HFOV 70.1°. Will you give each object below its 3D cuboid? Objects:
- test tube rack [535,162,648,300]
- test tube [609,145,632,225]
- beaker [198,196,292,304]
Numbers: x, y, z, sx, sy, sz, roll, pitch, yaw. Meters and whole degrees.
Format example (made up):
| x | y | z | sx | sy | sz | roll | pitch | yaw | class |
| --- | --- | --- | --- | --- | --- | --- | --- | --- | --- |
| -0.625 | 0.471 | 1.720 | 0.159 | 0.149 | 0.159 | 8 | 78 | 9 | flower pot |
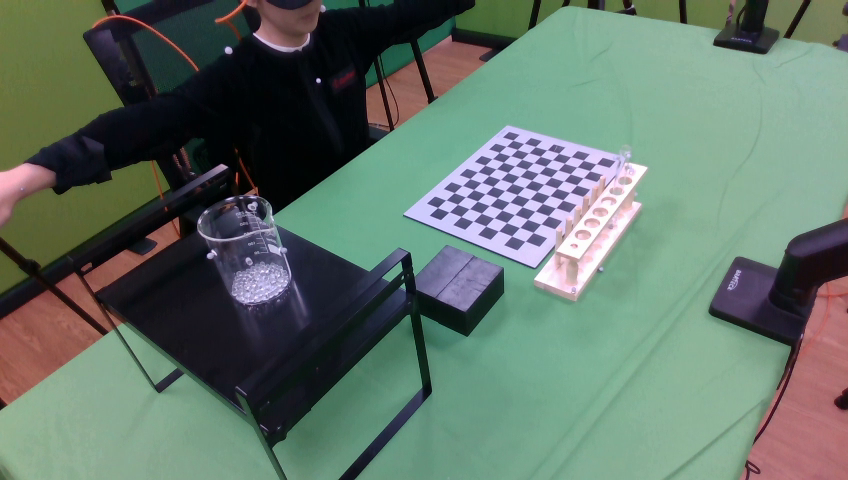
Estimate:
| x | y | z | sx | sy | sz | roll | pitch | yaw | class |
| --- | --- | --- | --- | --- | --- | --- | --- | --- | --- |
| 0.257 | -0.024 | 0.916 | 0.066 | 0.085 | 0.243 | 22 | 49 | 30 | test tube rack |
| 0.290 | -0.078 | 0.897 | 0.017 | 0.151 | 0.017 | -4 | 46 | 5 | test tube |
| -0.185 | 0.014 | 0.651 | 0.083 | 0.101 | 0.074 | 9 | 44 | 18 | beaker |
